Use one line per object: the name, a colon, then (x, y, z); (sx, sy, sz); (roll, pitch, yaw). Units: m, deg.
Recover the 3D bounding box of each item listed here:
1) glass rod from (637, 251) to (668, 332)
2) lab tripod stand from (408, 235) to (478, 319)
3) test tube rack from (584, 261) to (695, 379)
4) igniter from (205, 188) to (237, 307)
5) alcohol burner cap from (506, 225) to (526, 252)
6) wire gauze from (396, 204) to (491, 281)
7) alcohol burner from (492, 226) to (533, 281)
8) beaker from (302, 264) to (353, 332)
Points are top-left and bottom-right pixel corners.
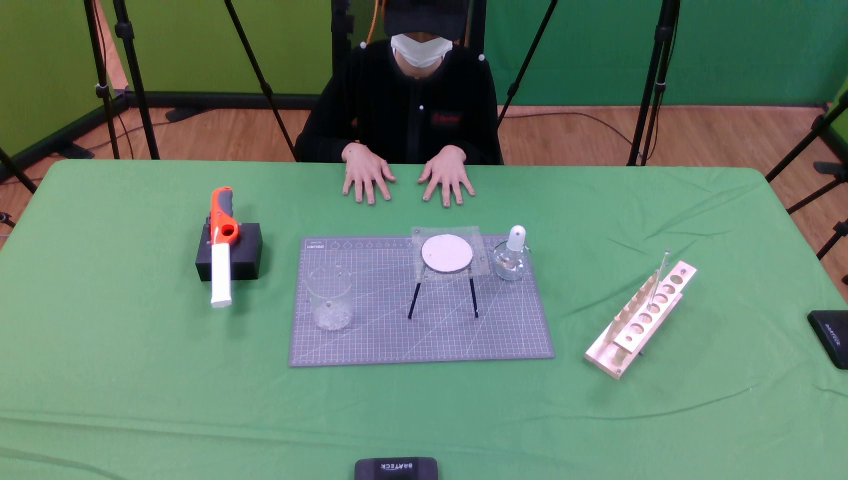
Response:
glass rod: (0.378, 0.090, 1.005); (0.008, 0.201, 0.008); (-1, 44, 1)
lab tripod stand: (0.032, 0.065, 1.057); (0.148, 0.132, 0.147); (1, 45, -1)
test tube rack: (0.380, 0.127, 1.062); (0.066, 0.085, 0.242); (34, 53, 26)
igniter: (-0.367, 0.004, 1.097); (0.057, 0.025, 0.274); (-7, 50, -11)
alcohol burner cap: (0.169, -0.005, 1.100); (0.034, 0.048, 0.033); (3, 42, -3)
wire gauze: (0.032, 0.004, 0.999); (0.125, 0.011, 0.120); (-22, 54, -14)
alcohol burner: (0.166, 0.020, 1.125); (0.078, 0.120, 0.077); (1, 46, -1)
beaker: (-0.162, 0.101, 1.030); (0.084, 0.101, 0.073); (4, 46, 0)
